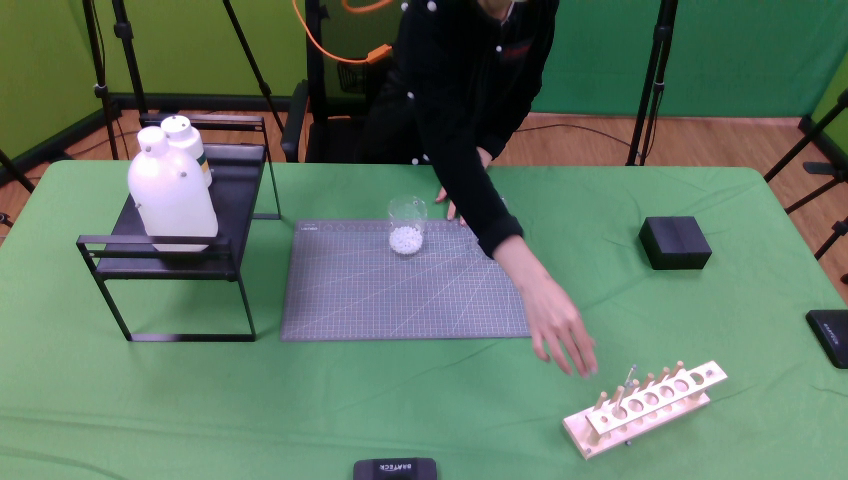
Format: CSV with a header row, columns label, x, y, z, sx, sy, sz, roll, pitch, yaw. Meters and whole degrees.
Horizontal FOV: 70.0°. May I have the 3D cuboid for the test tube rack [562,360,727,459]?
label,x,y,z,sx,sy,sz,roll,pitch,yaw
test tube rack,0.341,0.247,0.940,0.243,0.085,0.066,-16,49,-18

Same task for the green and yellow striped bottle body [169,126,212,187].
label,x,y,z,sx,sy,sz,roll,pitch,yaw
green and yellow striped bottle body,-0.388,-0.139,0.984,0.063,0.120,0.063,2,46,-2

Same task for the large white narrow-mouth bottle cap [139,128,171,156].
label,x,y,z,sx,sy,sz,roll,pitch,yaw
large white narrow-mouth bottle cap,-0.358,-0.131,0.808,0.038,0.024,0.037,3,47,-3

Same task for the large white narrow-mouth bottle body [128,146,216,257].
label,x,y,z,sx,sy,sz,roll,pitch,yaw
large white narrow-mouth bottle body,-0.366,-0.072,0.872,0.102,0.195,0.101,3,47,-3

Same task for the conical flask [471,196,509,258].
label,x,y,z,sx,sy,sz,roll,pitch,yaw
conical flask,0.133,-0.028,1.160,0.075,0.122,0.075,2,46,-2

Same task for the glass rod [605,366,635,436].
label,x,y,z,sx,sy,sz,roll,pitch,yaw
glass rod,0.276,0.233,0.857,0.008,0.201,0.008,-2,47,2

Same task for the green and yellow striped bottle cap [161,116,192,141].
label,x,y,z,sx,sy,sz,roll,pitch,yaw
green and yellow striped bottle cap,-0.387,-0.174,0.946,0.045,0.020,0.045,3,44,-3

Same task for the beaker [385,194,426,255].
label,x,y,z,sx,sy,sz,roll,pitch,yaw
beaker,-0.033,-0.025,1.162,0.083,0.101,0.074,29,51,21
